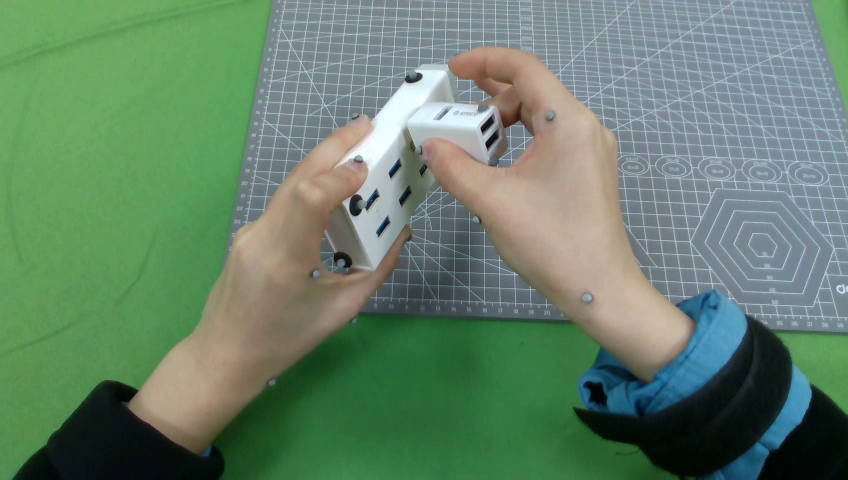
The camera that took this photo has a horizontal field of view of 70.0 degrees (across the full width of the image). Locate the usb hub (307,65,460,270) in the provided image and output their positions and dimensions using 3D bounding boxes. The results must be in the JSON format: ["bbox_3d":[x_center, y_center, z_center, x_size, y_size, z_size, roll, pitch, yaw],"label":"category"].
[{"bbox_3d":[-0.015,-0.044,0.334,0.025,0.050,0.124,9,48,28],"label":"usb hub"}]

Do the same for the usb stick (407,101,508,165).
[{"bbox_3d":[0.011,-0.054,0.307,0.058,0.027,0.021,10,46,43],"label":"usb stick"}]
